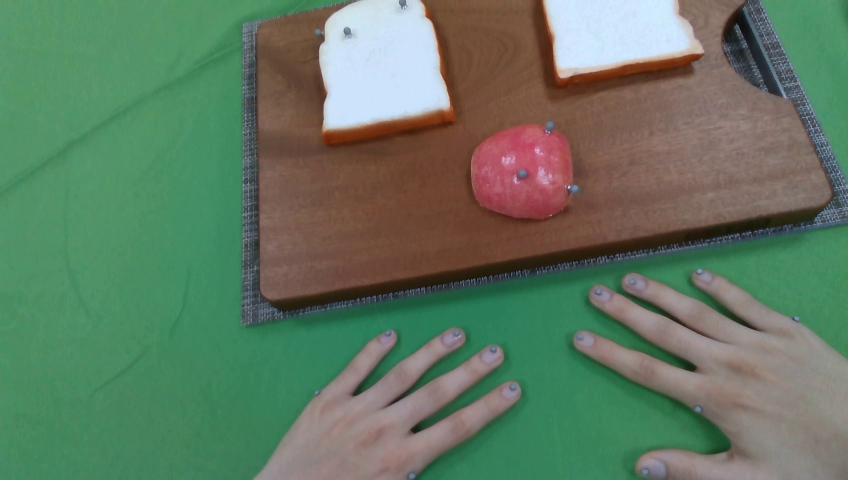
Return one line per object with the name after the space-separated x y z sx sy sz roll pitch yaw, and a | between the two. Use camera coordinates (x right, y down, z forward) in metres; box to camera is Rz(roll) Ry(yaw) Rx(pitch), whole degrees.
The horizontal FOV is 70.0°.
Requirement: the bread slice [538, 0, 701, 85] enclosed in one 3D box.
0.141 -0.184 0.480 0.107 0.018 0.133 -12 64 3 | bread slice

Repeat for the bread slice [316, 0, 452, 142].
-0.039 -0.144 0.492 0.105 0.019 0.130 -10 66 3 | bread slice

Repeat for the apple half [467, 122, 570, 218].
0.067 -0.056 0.427 0.081 0.033 0.080 -2 67 5 | apple half
